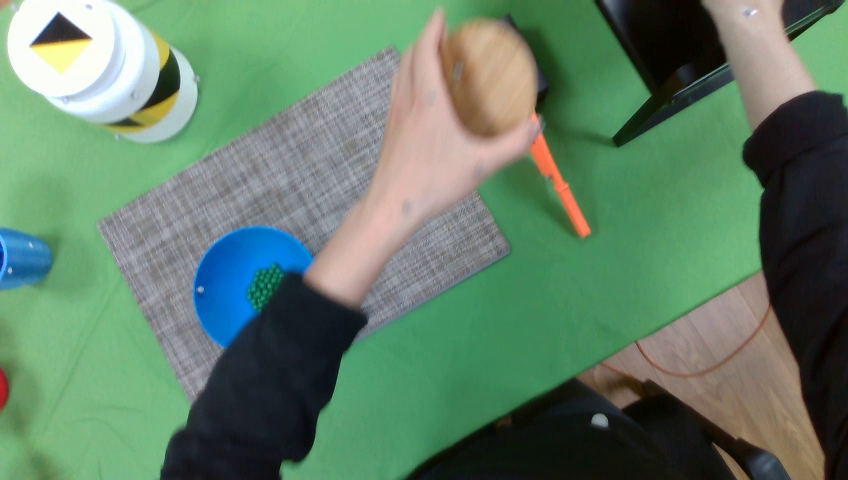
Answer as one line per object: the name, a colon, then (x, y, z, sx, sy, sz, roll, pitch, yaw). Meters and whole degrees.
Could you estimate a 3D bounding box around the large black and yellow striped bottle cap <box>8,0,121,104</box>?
large black and yellow striped bottle cap: (-0.375, -0.200, 0.632, 0.115, 0.019, 0.115, 0, 88, 5)

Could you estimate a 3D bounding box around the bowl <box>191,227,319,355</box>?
bowl: (-0.194, 0.061, 0.739, 0.151, 0.077, 0.151, 0, 87, 4)

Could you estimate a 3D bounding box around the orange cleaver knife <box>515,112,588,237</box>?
orange cleaver knife: (0.140, -0.094, 0.724, 0.012, 0.076, 0.213, -34, 115, -1)

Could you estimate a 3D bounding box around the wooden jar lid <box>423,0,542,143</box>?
wooden jar lid: (0.045, -0.130, 0.465, 0.107, 0.021, 0.109, 13, 111, 39)

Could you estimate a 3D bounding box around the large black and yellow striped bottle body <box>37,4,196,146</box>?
large black and yellow striped bottle body: (-0.370, -0.194, 0.715, 0.131, 0.184, 0.130, 0, 86, 4)

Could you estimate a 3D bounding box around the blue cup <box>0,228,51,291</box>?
blue cup: (-0.527, 0.025, 0.757, 0.092, 0.100, 0.092, 0, 87, 2)
